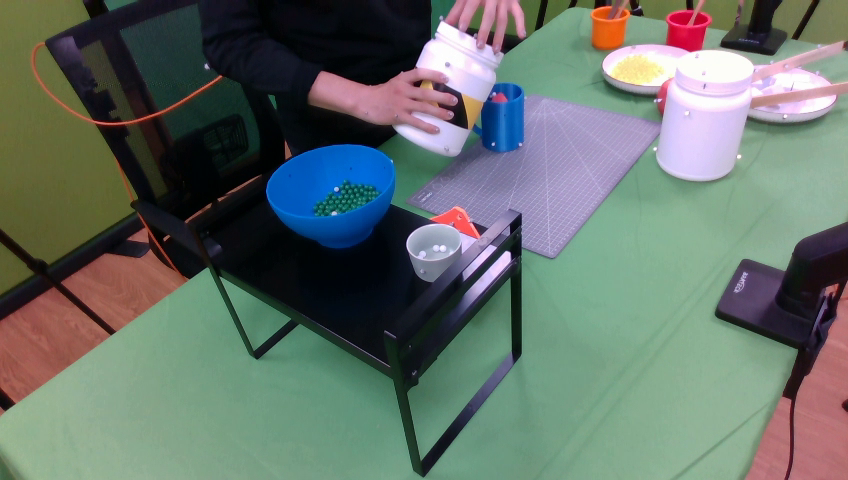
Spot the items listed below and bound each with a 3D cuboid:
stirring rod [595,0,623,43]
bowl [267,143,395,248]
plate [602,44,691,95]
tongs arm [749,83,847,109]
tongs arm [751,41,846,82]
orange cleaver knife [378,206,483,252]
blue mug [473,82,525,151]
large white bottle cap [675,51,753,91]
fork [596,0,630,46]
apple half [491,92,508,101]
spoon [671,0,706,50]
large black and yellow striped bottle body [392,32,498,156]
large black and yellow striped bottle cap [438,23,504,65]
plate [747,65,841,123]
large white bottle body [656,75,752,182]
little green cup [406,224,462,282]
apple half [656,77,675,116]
[{"bbox_3d":[0.460,-0.556,1.459,0.014,0.006,0.176,30,93,23],"label":"stirring rod"},{"bbox_3d":[-0.104,-0.043,0.726,0.151,0.077,0.150,-4,41,4],"label":"bowl"},{"bbox_3d":[0.495,-0.367,1.317,0.209,0.038,0.208,-4,40,4],"label":"plate"},{"bbox_3d":[0.734,-0.280,1.133,0.388,0.028,0.028,-9,47,-5],"label":"tongs arm"},{"bbox_3d":[0.708,-0.331,1.194,0.386,0.026,0.050,-18,45,-16],"label":"tongs arm"},{"bbox_3d":[0.005,-0.010,0.943,0.210,0.077,0.012,-5,23,47],"label":"orange cleaver knife"},{"bbox_3d":[0.138,-0.241,1.169,0.116,0.106,0.082,10,44,21],"label":"blue mug"},{"bbox_3d":[0.463,-0.271,0.967,0.115,0.018,0.114,-4,40,3],"label":"large white bottle cap"},{"bbox_3d":[0.481,-0.556,1.452,0.028,0.019,0.207,40,103,40],"label":"fork"},{"bbox_3d":[0.141,-0.239,1.158,0.033,0.081,0.080,-13,40,-16],"label":"apple half"},{"bbox_3d":[0.628,-0.520,1.394,0.041,0.022,0.193,30,97,34],"label":"spoon"},{"bbox_3d":[0.039,-0.248,1.007,0.131,0.184,0.130,24,20,-9],"label":"large black and yellow striped bottle body"},{"bbox_3d":[0.077,-0.318,0.979,0.115,0.019,0.114,24,21,-10],"label":"large black and yellow striped bottle cap"},{"bbox_3d":[0.695,-0.282,1.189,0.207,0.039,0.206,-4,40,4],"label":"plate"},{"bbox_3d":[0.472,-0.207,1.022,0.130,0.185,0.130,-4,41,4],"label":"large white bottle body"},{"bbox_3d":[0.012,0.015,0.668,0.061,0.039,0.061,-4,40,4],"label":"little green cup"},{"bbox_3d":[0.488,-0.281,1.192,0.053,0.075,0.081,24,54,37],"label":"apple half"}]
